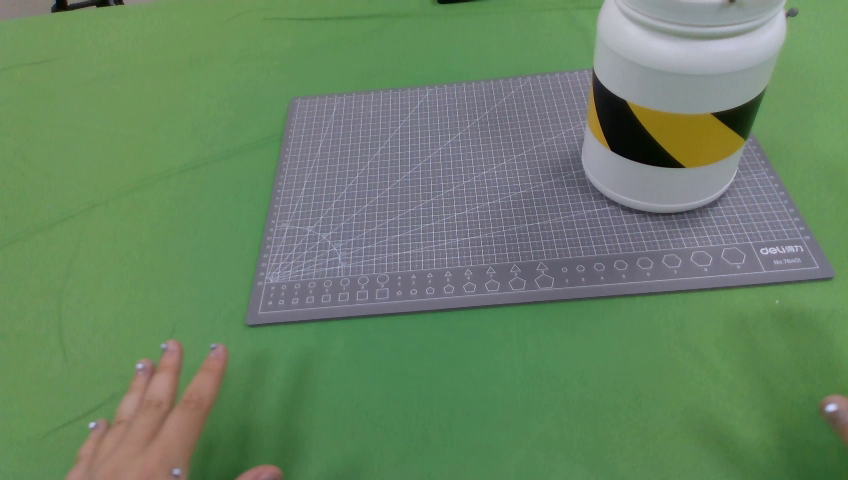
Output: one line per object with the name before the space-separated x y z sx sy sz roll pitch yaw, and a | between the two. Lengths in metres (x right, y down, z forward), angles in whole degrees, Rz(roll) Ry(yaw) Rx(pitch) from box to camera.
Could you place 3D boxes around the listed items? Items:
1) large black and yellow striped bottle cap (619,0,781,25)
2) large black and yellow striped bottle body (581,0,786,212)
large black and yellow striped bottle cap | 0.186 -0.183 0.412 0.115 0.019 0.114 -3 48 3
large black and yellow striped bottle body | 0.196 -0.127 0.475 0.131 0.186 0.129 -4 49 5
